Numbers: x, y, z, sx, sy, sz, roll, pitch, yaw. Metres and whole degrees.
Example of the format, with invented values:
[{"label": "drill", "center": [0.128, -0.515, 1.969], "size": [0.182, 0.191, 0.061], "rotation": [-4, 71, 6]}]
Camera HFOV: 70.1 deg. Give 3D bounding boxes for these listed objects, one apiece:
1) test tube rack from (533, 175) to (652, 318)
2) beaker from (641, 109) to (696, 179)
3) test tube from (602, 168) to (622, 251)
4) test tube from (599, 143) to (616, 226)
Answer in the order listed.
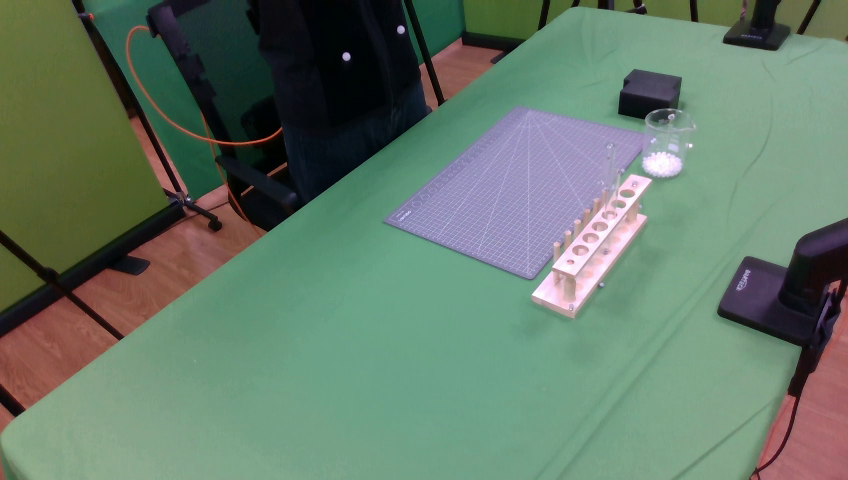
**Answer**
[{"label": "test tube rack", "center": [0.250, -0.001, 0.889], "size": [0.066, 0.085, 0.243], "rotation": [22, 49, 33]}, {"label": "beaker", "center": [0.415, -0.161, 1.035], "size": [0.083, 0.101, 0.074], "rotation": [19, 48, 29]}, {"label": "test tube", "center": [0.264, -0.039, 0.854], "size": [0.017, 0.151, 0.017], "rotation": [-5, 44, 6]}, {"label": "test tube", "center": [0.273, -0.081, 0.909], "size": [0.017, 0.151, 0.017], "rotation": [-4, 42, 4]}]
